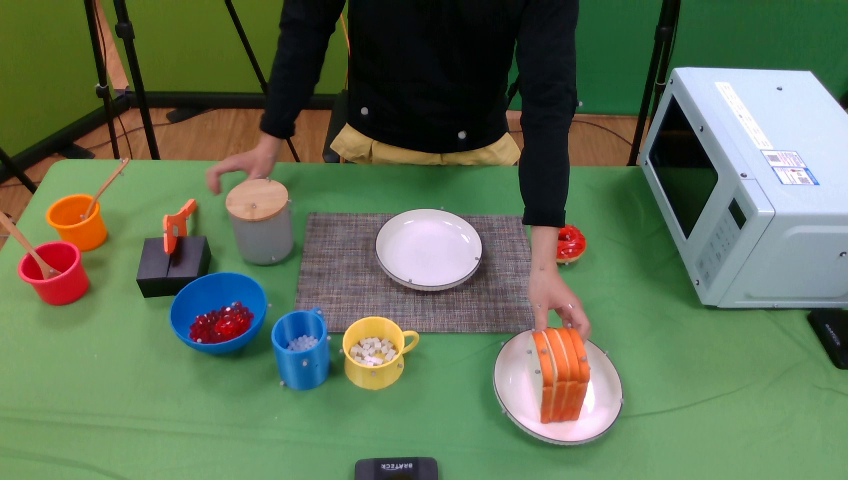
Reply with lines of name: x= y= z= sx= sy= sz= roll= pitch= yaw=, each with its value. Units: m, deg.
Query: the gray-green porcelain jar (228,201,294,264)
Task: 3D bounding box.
gray-green porcelain jar: x=-0.299 y=-0.027 z=1.126 sx=0.106 sy=0.127 sz=0.105 roll=2 pitch=46 yaw=-2

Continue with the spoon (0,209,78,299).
spoon: x=-0.668 y=0.021 z=1.040 sx=0.041 sy=0.021 sz=0.194 roll=-41 pitch=105 yaw=-30

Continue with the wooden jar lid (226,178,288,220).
wooden jar lid: x=-0.296 y=-0.070 z=1.081 sx=0.108 sy=0.021 sz=0.107 roll=1 pitch=45 yaw=-1

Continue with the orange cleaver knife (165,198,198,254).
orange cleaver knife: x=-0.458 y=-0.031 z=1.149 sx=0.012 sy=0.077 sz=0.210 roll=-2 pitch=17 yaw=-6

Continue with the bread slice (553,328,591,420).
bread slice: x=0.227 y=0.202 z=0.932 sx=0.018 sy=0.135 sz=0.106 roll=-4 pitch=50 yaw=-5

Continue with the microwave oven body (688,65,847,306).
microwave oven body: x=0.669 y=-0.111 z=1.176 sx=0.326 sy=0.261 sz=0.439 roll=0 pitch=46 yaw=-3

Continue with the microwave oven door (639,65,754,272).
microwave oven door: x=0.522 y=-0.147 z=1.193 sx=0.039 sy=0.245 sz=0.353 roll=0 pitch=47 yaw=-3

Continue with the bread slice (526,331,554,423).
bread slice: x=0.177 y=0.203 z=0.928 sx=0.019 sy=0.132 sz=0.104 roll=-7 pitch=45 yaw=-1

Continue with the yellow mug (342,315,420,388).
yellow mug: x=-0.067 y=0.177 z=0.990 sx=0.131 sy=0.064 sz=0.099 roll=-15 pitch=50 yaw=-19

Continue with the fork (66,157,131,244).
fork: x=-0.608 y=-0.074 z=1.132 sx=0.207 sy=0.019 sz=0.028 roll=-52 pitch=48 yaw=10

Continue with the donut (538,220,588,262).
donut: x=0.273 y=0.000 z=1.198 sx=0.099 sy=0.048 sz=0.098 roll=1 pitch=47 yaw=-1

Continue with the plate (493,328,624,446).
plate: x=0.213 y=0.236 z=0.974 sx=0.208 sy=0.039 sz=0.206 roll=2 pitch=46 yaw=-2

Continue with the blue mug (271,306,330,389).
blue mug: x=-0.188 y=0.163 z=0.969 sx=0.082 sy=0.106 sz=0.116 roll=15 pitch=47 yaw=10

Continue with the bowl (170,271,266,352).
bowl: x=-0.333 y=0.132 z=1.006 sx=0.151 sy=0.077 sz=0.150 roll=2 pitch=46 yaw=-2

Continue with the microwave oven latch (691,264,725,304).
microwave oven latch: x=0.521 y=0.081 z=1.116 sx=0.030 sy=0.029 sz=0.078 roll=0 pitch=46 yaw=-3

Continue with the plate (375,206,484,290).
plate: x=0.009 y=0.019 z=1.160 sx=0.209 sy=0.038 sz=0.208 roll=2 pitch=47 yaw=-2
